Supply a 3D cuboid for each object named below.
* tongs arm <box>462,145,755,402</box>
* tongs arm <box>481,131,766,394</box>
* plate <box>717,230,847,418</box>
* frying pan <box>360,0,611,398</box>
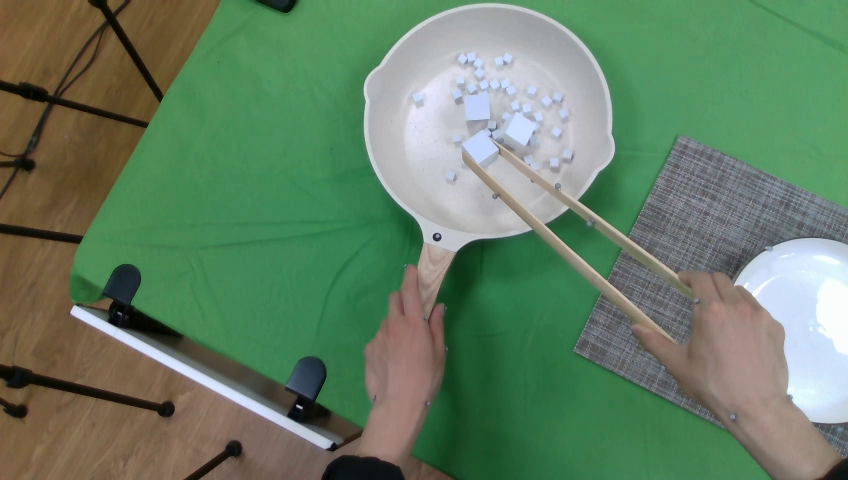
[{"bbox_3d":[0.158,0.017,0.609,0.028,0.028,0.383,-35,58,-12],"label":"tongs arm"},{"bbox_3d":[0.175,0.004,0.613,0.051,0.027,0.381,-41,59,-12],"label":"tongs arm"},{"bbox_3d":[0.435,0.093,0.684,0.207,0.039,0.207,-1,80,5],"label":"plate"},{"bbox_3d":[0.034,-0.052,0.712,0.306,0.103,0.486,19,74,8],"label":"frying pan"}]
